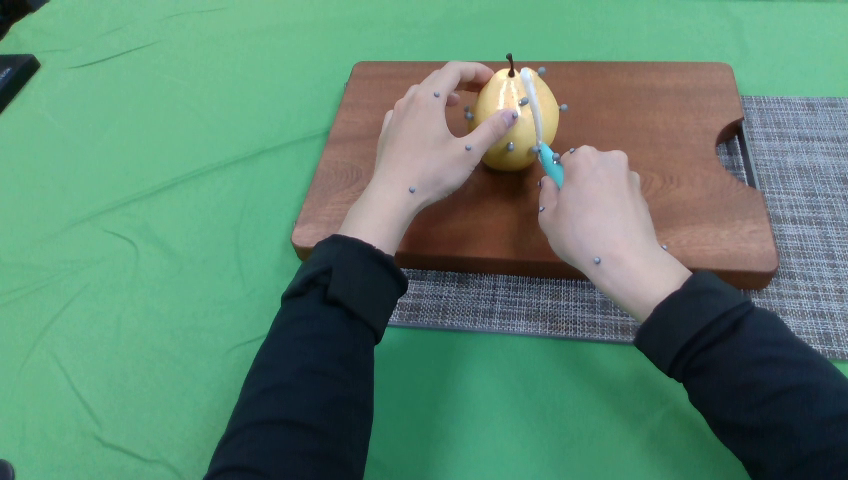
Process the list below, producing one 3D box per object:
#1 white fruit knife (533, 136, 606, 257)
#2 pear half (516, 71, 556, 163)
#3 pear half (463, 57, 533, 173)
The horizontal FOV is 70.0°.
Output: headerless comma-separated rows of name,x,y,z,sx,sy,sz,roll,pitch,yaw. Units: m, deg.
white fruit knife,0.101,-0.069,0.518,0.016,0.028,0.205,-17,50,-7
pear half,0.100,-0.113,0.540,0.031,0.089,0.069,-18,49,-13
pear half,0.061,-0.109,0.527,0.056,0.111,0.075,-20,48,-8
